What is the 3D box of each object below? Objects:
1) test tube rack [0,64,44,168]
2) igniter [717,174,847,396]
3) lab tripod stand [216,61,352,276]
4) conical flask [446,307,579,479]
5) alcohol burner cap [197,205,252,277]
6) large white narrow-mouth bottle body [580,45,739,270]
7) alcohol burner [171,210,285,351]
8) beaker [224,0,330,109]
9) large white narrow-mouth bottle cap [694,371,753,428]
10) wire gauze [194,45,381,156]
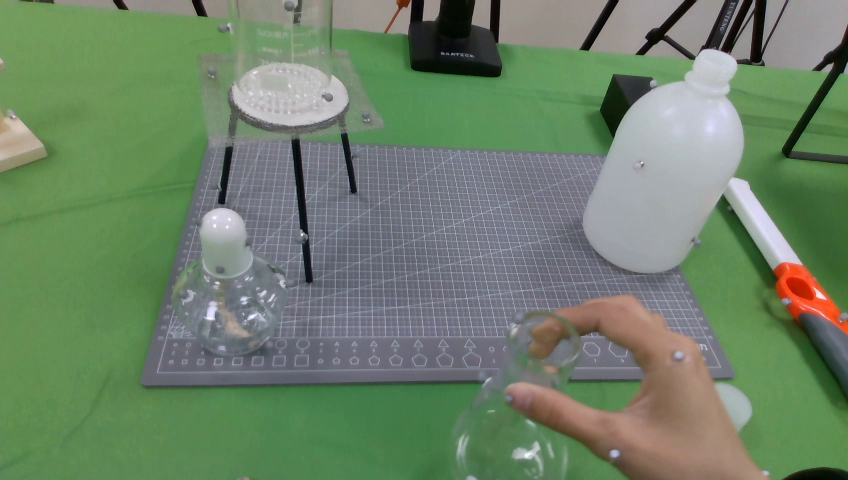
[{"bbox_3d":[-0.461,-0.077,0.489,0.066,0.086,0.242,38,50,26],"label":"test tube rack"},{"bbox_3d":[0.341,0.030,0.566,0.057,0.025,0.273,10,43,-15],"label":"igniter"},{"bbox_3d":[-0.110,-0.065,0.502,0.149,0.132,0.147,6,45,-6],"label":"lab tripod stand"},{"bbox_3d":[0.055,0.091,0.345,0.075,0.123,0.074,4,43,-3],"label":"conical flask"},{"bbox_3d":[-0.132,-0.002,0.395,0.034,0.048,0.033,5,50,-5],"label":"alcohol burner cap"},{"bbox_3d":[0.208,-0.071,0.521,0.102,0.196,0.101,5,44,-4],"label":"large white narrow-mouth bottle body"},{"bbox_3d":[-0.136,0.023,0.421,0.078,0.120,0.077,7,43,-6],"label":"alcohol burner"},{"bbox_3d":[-0.105,-0.151,0.425,0.084,0.101,0.073,-3,47,-14],"label":"beaker"},{"bbox_3d":[0.226,0.121,0.459,0.038,0.024,0.037,5,44,-4],"label":"large white narrow-mouth bottle cap"},{"bbox_3d":[-0.106,-0.113,0.458,0.122,0.011,0.123,-10,51,-17],"label":"wire gauze"}]
